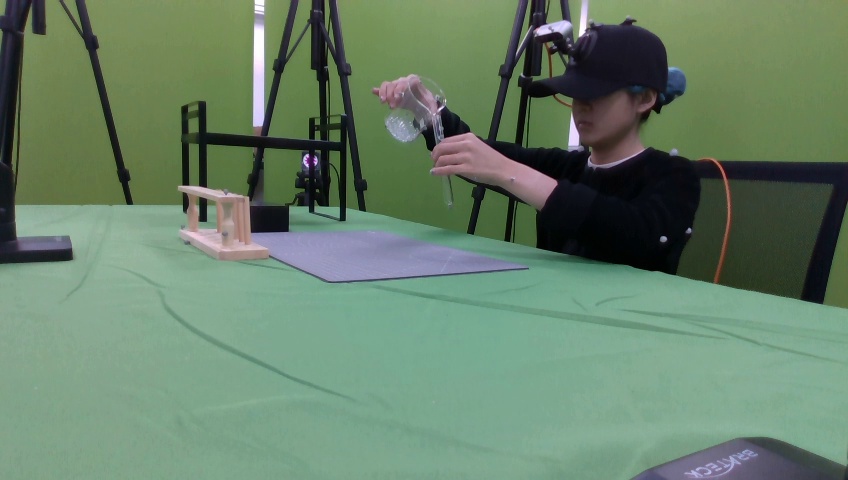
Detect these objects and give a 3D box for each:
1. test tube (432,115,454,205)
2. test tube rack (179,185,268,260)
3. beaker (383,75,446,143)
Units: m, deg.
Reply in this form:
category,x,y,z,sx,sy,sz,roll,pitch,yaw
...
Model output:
category,x,y,z,sx,sy,sz,roll,pitch,yaw
test tube,0.032,-0.132,0.997,0.017,0.150,0.017,-9,-1,0
test tube rack,-0.303,-0.031,0.898,0.067,0.085,0.241,-2,9,-33
beaker,-0.018,-0.221,1.045,0.074,0.083,0.100,-4,-26,-38
